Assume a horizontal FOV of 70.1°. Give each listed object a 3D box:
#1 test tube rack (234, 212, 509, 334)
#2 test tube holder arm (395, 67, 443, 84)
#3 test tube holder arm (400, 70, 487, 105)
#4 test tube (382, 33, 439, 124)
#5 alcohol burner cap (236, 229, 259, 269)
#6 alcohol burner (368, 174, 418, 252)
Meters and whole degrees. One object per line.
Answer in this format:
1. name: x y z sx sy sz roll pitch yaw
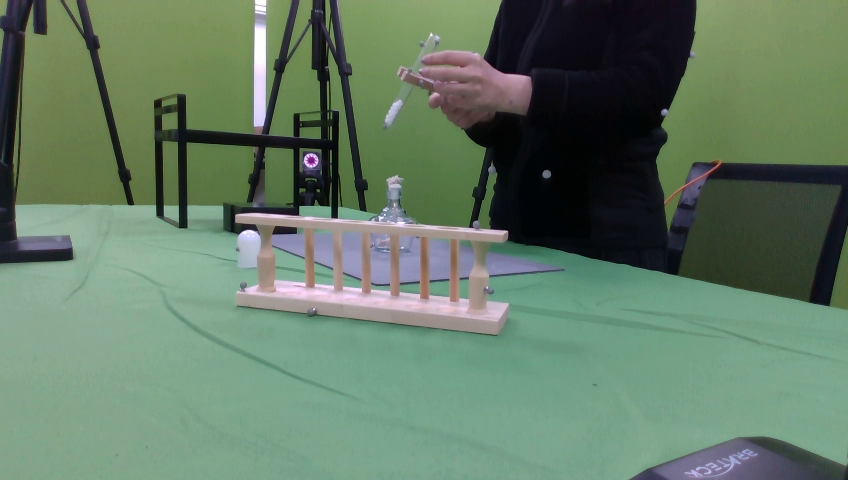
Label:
1. test tube rack: -0.047 0.023 0.547 0.242 0.085 0.067 4 8 15
2. test tube holder arm: -0.003 -0.236 0.895 0.088 0.015 0.010 10 25 -35
3. test tube holder arm: 0.034 -0.230 0.921 0.179 0.015 0.013 4 29 -43
4. test tube: -0.021 -0.232 0.880 0.017 0.150 0.017 27 28 -15
5. alcohol burner cap: -0.221 0.010 0.759 0.034 0.048 0.034 -1 12 1
6. alcohol burner: -0.047 -0.042 0.922 0.078 0.119 0.078 1 10 0
